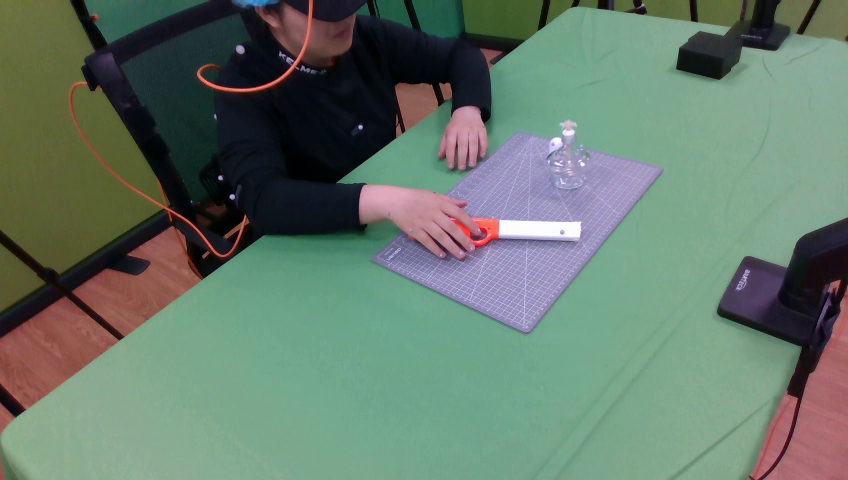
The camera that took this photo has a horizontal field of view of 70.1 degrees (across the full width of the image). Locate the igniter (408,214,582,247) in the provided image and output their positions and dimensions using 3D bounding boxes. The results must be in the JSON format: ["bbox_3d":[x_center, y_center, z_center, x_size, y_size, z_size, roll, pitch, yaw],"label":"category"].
[{"bbox_3d":[0.111,-0.015,0.969,0.276,0.025,0.057,0,69,9],"label":"igniter"}]

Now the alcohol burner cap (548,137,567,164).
[{"bbox_3d":[0.246,-0.166,1.113,0.034,0.048,0.033,-6,40,5],"label":"alcohol burner cap"}]

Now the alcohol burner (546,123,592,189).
[{"bbox_3d":[0.248,-0.147,1.034,0.078,0.120,0.077,-7,41,6],"label":"alcohol burner"}]
